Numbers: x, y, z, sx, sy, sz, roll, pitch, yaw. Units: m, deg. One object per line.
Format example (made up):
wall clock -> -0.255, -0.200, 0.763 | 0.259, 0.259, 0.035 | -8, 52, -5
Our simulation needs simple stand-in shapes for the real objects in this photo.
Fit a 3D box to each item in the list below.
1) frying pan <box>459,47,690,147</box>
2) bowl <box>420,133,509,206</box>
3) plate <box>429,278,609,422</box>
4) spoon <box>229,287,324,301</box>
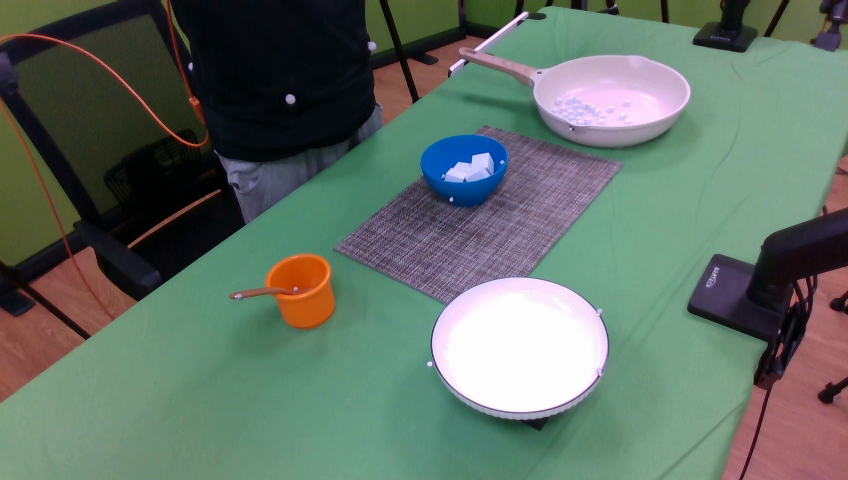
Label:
frying pan -> 0.280, -0.317, 1.234 | 0.485, 0.103, 0.307 | 28, 50, 23
bowl -> 0.071, -0.112, 1.038 | 0.151, 0.077, 0.150 | -4, 40, 4
plate -> 0.111, 0.129, 0.716 | 0.207, 0.039, 0.206 | -5, 39, 4
spoon -> -0.197, 0.071, 0.817 | 0.041, 0.195, 0.021 | 12, 88, 23
